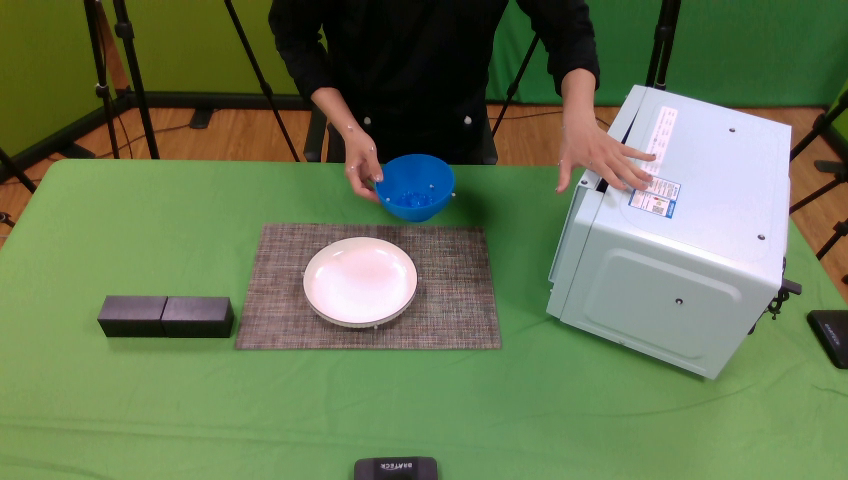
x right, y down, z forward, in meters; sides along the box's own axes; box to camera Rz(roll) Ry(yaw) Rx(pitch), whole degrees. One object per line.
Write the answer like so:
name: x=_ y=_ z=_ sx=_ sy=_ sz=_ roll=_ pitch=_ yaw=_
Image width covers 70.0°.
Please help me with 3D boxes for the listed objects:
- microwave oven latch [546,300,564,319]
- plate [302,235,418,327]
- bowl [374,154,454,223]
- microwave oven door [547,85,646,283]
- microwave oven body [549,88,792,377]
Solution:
microwave oven latch: x=0.242 y=0.102 z=1.081 sx=0.030 sy=0.029 sz=0.079 roll=21 pitch=48 yaw=17
plate: x=-0.114 y=0.077 z=1.098 sx=0.208 sy=0.039 sz=0.206 roll=2 pitch=46 yaw=-2
bowl: x=-0.016 y=-0.085 z=1.146 sx=0.151 sy=0.077 sz=0.150 roll=-2 pitch=48 yaw=3
microwave oven door: x=0.334 y=-0.110 z=1.151 sx=0.039 sy=0.245 sz=0.355 roll=23 pitch=49 yaw=17
microwave oven body: x=0.456 y=-0.028 z=1.088 sx=0.325 sy=0.261 sz=0.440 roll=20 pitch=47 yaw=16
